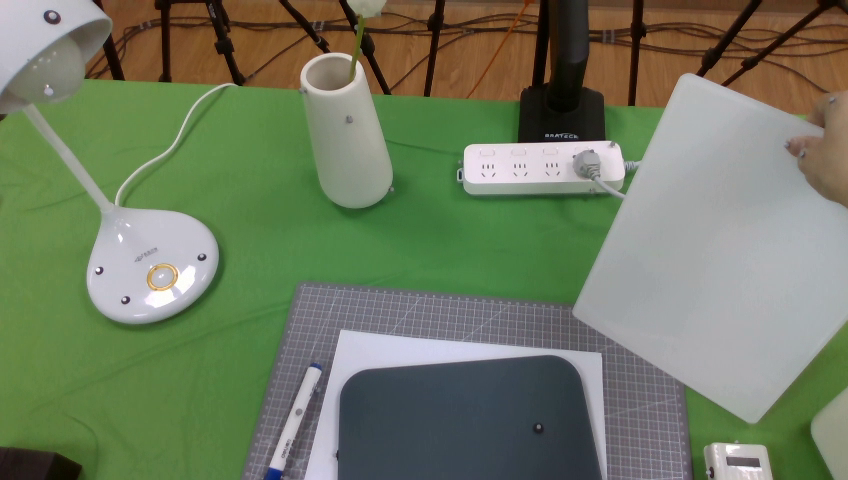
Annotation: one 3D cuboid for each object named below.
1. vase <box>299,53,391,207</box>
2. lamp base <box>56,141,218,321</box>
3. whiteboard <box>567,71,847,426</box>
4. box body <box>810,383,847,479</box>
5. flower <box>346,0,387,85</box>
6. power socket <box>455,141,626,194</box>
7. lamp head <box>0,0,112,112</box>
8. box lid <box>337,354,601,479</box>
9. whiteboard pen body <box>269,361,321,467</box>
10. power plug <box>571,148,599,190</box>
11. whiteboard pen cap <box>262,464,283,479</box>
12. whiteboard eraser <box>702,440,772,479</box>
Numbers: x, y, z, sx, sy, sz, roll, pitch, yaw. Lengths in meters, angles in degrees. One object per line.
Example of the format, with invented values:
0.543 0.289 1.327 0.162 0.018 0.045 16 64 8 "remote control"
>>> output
-0.098 -0.129 0.745 0.098 0.202 0.097 -2 56 4 "vase"
-0.352 -0.020 0.699 0.177 0.182 0.160 34 64 26 "lamp base"
0.317 -0.004 0.610 0.215 0.307 0.144 33 44 23 "whiteboard"
0.527 0.256 0.475 0.254 0.162 0.360 -11 56 -4 "box body"
-0.084 -0.166 0.671 0.044 0.363 0.038 -31 77 -26 "flower"
0.155 -0.097 0.809 0.227 0.033 0.071 0 57 3 "power socket"
-0.320 -0.173 0.450 0.123 0.112 0.112 45 63 -14 "lamp head"
0.047 0.285 0.574 0.263 0.015 0.368 -4 57 0 "box lid"
-0.139 0.193 0.636 0.017 0.017 0.140 12 60 12 "whiteboard pen body"
0.204 -0.085 0.771 0.035 0.053 0.072 9 64 9 "power plug"
-0.154 0.242 0.607 0.018 0.018 0.033 11 60 11 "whiteboard pen cap"
0.298 0.247 0.567 0.055 0.042 0.111 3 57 4 "whiteboard eraser"
